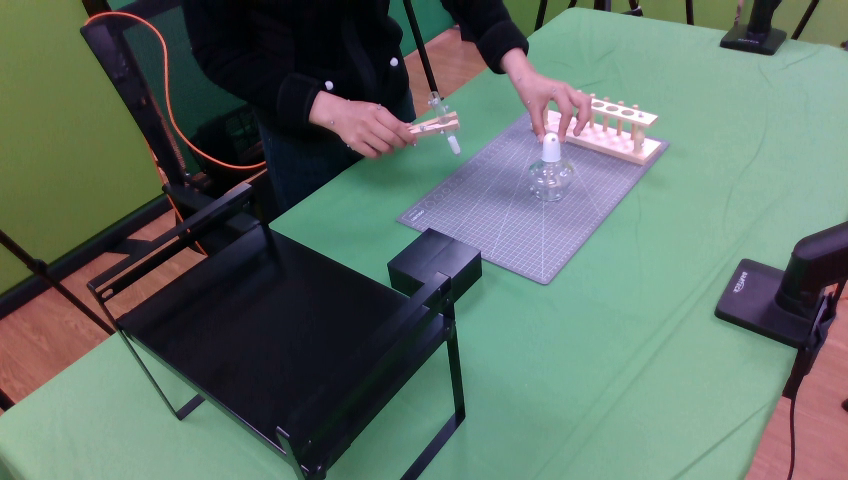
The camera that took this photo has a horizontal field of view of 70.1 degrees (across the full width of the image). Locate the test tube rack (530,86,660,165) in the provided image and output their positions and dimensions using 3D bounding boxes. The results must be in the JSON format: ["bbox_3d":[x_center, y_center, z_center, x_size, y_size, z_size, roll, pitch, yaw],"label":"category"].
[{"bbox_3d":[0.320,-0.226,1.140,0.240,0.085,0.067,26,51,34],"label":"test tube rack"}]

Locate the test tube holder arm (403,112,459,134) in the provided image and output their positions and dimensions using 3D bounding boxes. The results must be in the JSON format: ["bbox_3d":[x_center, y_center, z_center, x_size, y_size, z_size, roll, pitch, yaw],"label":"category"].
[{"bbox_3d":[0.010,-0.177,0.942,0.088,0.015,0.010,-19,53,7],"label":"test tube holder arm"}]

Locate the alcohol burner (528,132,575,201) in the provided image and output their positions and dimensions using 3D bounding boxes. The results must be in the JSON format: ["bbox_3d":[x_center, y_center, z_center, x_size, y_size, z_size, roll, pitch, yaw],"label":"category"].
[{"bbox_3d":[0.214,-0.126,1.016,0.078,0.119,0.077,-5,38,5],"label":"alcohol burner"}]

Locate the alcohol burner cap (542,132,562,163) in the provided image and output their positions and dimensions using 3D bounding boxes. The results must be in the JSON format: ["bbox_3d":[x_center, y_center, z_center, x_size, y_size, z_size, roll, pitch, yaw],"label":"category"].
[{"bbox_3d":[0.212,-0.154,0.994,0.034,0.048,0.033,-3,35,3],"label":"alcohol burner cap"}]

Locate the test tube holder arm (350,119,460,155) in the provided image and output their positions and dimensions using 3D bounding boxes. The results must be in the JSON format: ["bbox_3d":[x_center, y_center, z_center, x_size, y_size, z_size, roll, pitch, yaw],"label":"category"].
[{"bbox_3d":[-0.032,-0.161,0.946,0.178,0.015,0.013,-13,53,11],"label":"test tube holder arm"}]

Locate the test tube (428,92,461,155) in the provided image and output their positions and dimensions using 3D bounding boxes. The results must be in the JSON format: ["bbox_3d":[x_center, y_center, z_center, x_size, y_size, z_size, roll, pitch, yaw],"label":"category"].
[{"bbox_3d":[0.035,-0.178,0.942,0.017,0.151,0.017,-7,62,15],"label":"test tube"}]
